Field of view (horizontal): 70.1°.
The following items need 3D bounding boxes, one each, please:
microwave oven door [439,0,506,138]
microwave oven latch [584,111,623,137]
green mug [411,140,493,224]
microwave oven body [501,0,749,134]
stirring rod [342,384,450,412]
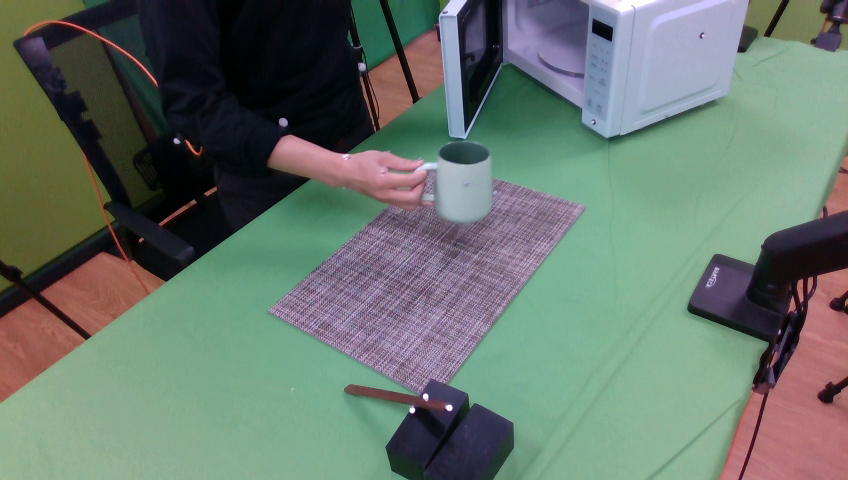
[{"bbox_3d":[0.108,-0.406,1.231,0.039,0.245,0.355,7,43,18],"label":"microwave oven door"},{"bbox_3d":[0.337,-0.222,1.142,0.030,0.029,0.078,-21,42,-14],"label":"microwave oven latch"},{"bbox_3d":[0.043,-0.086,0.913,0.125,0.105,0.092,-4,37,-4],"label":"green mug"},{"bbox_3d":[0.382,-0.445,1.246,0.327,0.261,0.437,-22,42,-16],"label":"microwave oven body"},{"bbox_3d":[-0.038,0.186,0.714,0.175,0.006,0.014,-3,22,43],"label":"stirring rod"}]
